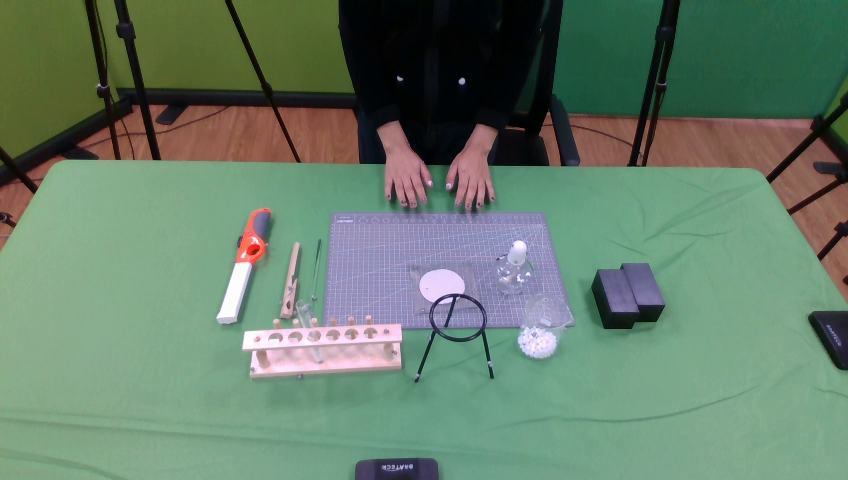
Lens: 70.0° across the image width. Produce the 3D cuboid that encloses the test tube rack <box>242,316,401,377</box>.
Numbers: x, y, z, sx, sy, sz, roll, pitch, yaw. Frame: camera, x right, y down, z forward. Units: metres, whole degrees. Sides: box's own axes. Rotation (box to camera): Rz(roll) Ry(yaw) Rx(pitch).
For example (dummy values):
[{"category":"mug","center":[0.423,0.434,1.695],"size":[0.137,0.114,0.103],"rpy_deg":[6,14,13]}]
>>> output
[{"category":"test tube rack","center":[-0.161,0.166,0.983],"size":[0.242,0.085,0.066],"rpy_deg":[-2,46,-6]}]

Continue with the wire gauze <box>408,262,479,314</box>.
[{"category":"wire gauze","center":[0.036,0.085,1.127],"size":[0.121,0.011,0.124],"rpy_deg":[-3,43,-6]}]

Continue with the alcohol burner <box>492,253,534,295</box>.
[{"category":"alcohol burner","center":[0.165,0.045,1.103],"size":[0.078,0.119,0.077],"rpy_deg":[3,47,-3]}]

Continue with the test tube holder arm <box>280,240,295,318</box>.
[{"category":"test tube holder arm","center":[-0.250,0.068,1.113],"size":[0.013,0.015,0.177],"rpy_deg":[27,38,-32]}]

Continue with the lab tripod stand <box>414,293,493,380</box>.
[{"category":"lab tripod stand","center":[0.052,0.159,0.972],"size":[0.148,0.132,0.147],"rpy_deg":[4,46,-4]}]

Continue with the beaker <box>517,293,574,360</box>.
[{"category":"beaker","center":[0.200,0.149,1.018],"size":[0.084,0.101,0.073],"rpy_deg":[14,47,8]}]

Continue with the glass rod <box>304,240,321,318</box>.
[{"category":"glass rod","center":[-0.207,0.068,1.128],"size":[0.008,0.008,0.198],"rpy_deg":[2,43,-2]}]

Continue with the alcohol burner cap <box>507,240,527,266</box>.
[{"category":"alcohol burner cap","center":[0.167,0.021,1.075],"size":[0.034,0.048,0.033],"rpy_deg":[1,55,-1]}]

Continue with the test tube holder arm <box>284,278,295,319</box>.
[{"category":"test tube holder arm","center":[-0.242,0.103,1.085],"size":[0.010,0.015,0.087],"rpy_deg":[29,37,-30]}]

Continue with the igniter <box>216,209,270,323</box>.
[{"category":"igniter","center":[-0.335,0.039,1.132],"size":[0.057,0.025,0.275],"rpy_deg":[-3,46,6]}]

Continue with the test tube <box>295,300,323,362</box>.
[{"category":"test tube","center":[-0.176,0.143,0.935],"size":[0.017,0.151,0.017],"rpy_deg":[-2,46,2]}]
